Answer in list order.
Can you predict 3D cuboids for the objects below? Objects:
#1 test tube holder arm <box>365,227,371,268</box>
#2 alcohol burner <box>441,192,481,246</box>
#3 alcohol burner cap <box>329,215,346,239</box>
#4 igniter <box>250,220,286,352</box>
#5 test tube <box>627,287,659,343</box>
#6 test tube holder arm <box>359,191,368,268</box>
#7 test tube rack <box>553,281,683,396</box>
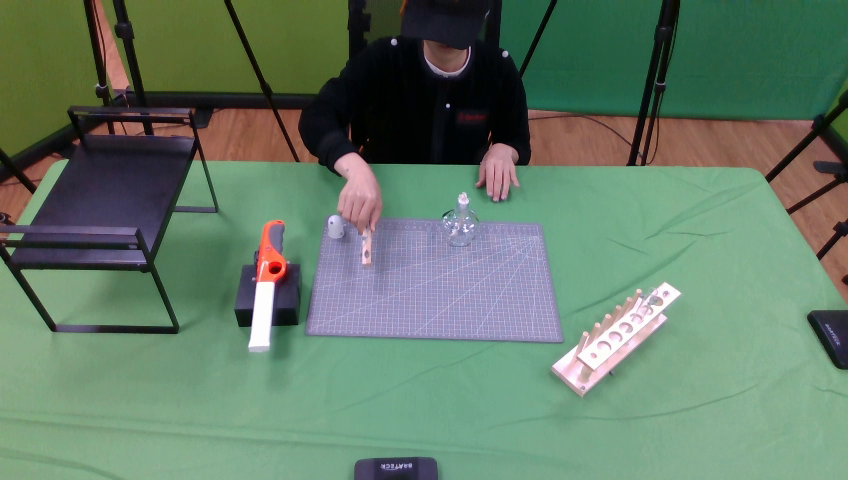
[{"bbox_3d":[-0.104,0.012,1.118,0.010,0.015,0.087,4,52,-13],"label":"test tube holder arm"},{"bbox_3d":[0.073,-0.046,1.176,0.078,0.119,0.077,2,44,-2],"label":"alcohol burner"},{"bbox_3d":[-0.172,-0.028,1.192,0.034,0.048,0.033,1,47,-1],"label":"alcohol burner cap"},{"bbox_3d":[-0.269,0.068,1.042,0.057,0.025,0.274,0,48,-7],"label":"igniter"},{"bbox_3d":[0.351,0.125,0.983,0.017,0.151,0.017,1,50,-1],"label":"test tube"},{"bbox_3d":[-0.114,-0.024,1.144,0.013,0.015,0.177,2,52,-15],"label":"test tube holder arm"},{"bbox_3d":[0.329,0.153,1.022,0.242,0.085,0.066,-30,54,-28],"label":"test tube rack"}]
